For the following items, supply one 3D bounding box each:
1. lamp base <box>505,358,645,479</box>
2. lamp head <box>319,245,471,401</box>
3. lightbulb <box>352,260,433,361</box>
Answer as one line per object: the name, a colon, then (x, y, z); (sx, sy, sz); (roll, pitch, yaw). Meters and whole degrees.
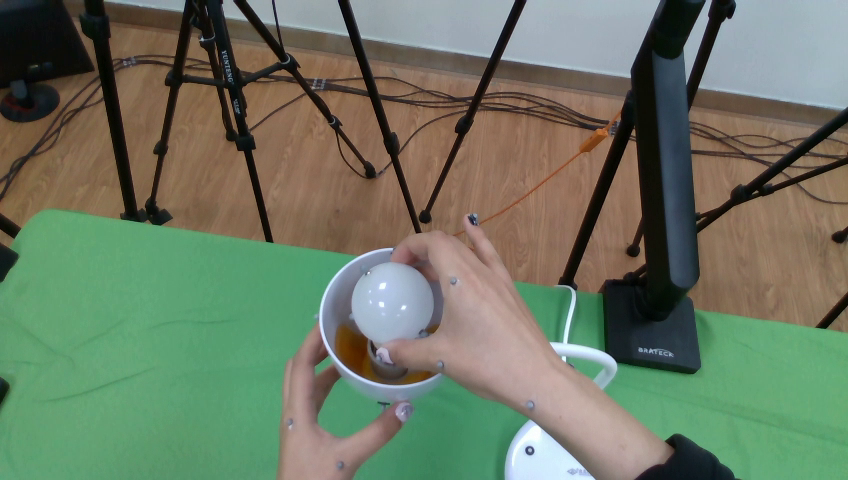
lamp base: (0.175, 0.212, 0.636); (0.161, 0.182, 0.177); (-4, 54, -7)
lamp head: (-0.019, 0.079, 0.487); (0.112, 0.124, 0.111); (-1, 60, 1)
lightbulb: (-0.023, 0.060, 0.459); (0.059, 0.108, 0.059); (1, 51, -1)
